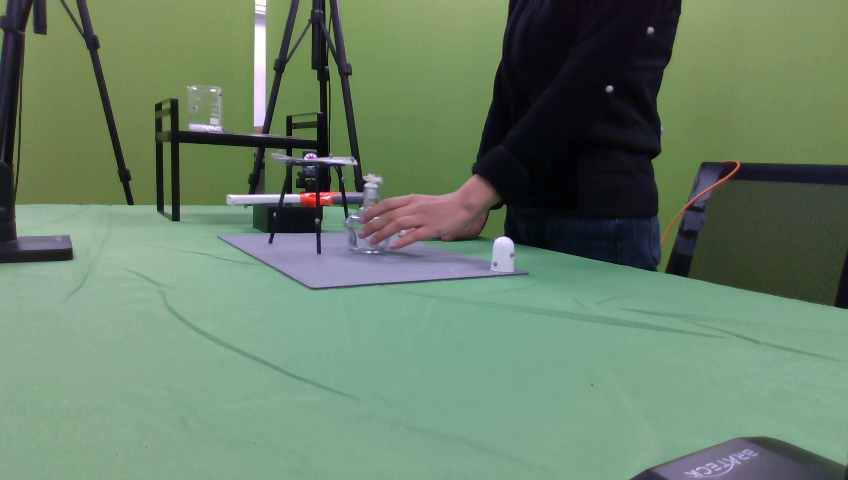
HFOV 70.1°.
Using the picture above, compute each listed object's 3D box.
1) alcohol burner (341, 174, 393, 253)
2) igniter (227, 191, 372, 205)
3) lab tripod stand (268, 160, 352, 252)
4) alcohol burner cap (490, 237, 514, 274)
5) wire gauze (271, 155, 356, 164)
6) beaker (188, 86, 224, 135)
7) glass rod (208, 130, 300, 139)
[{"bbox_3d":[-0.084,-0.040,0.909,0.078,0.119,0.078,5,6,0],"label":"alcohol burner"},{"bbox_3d":[-0.232,-0.080,1.162,0.278,0.025,0.057,-3,12,-28],"label":"igniter"},{"bbox_3d":[-0.171,-0.055,0.921,0.148,0.131,0.148,1,9,0],"label":"lab tripod stand"},{"bbox_3d":[0.104,0.020,0.793,0.034,0.048,0.034,2,6,0],"label":"alcohol burner cap"},{"bbox_3d":[-0.167,-0.122,0.917,0.125,0.011,0.121,0,7,-9],"label":"wire gauze"},{"bbox_3d":[-0.474,-0.280,1.311,0.074,0.100,0.084,5,8,26],"label":"beaker"},{"bbox_3d":[-0.367,-0.231,1.321,0.201,0.008,0.008,-1,8,-30],"label":"glass rod"}]
